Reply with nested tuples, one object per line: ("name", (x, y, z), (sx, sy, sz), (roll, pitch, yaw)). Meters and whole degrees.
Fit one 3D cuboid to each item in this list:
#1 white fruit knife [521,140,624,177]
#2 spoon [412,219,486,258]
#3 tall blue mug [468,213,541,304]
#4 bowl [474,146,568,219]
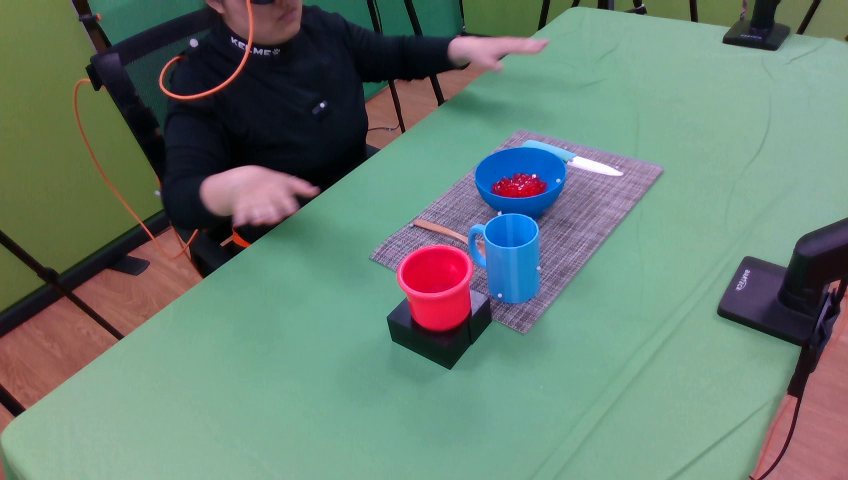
("white fruit knife", (0.270, -0.149, 1.110), (0.206, 0.016, 0.027), (25, 80, 32))
("spoon", (0.054, -0.005, 0.971), (0.192, 0.022, 0.041), (25, 68, 33))
("tall blue mug", (0.111, 0.026, 0.856), (0.107, 0.108, 0.077), (2, 42, 13))
("bowl", (0.161, -0.083, 1.000), (0.151, 0.077, 0.150), (-5, 40, 5))
